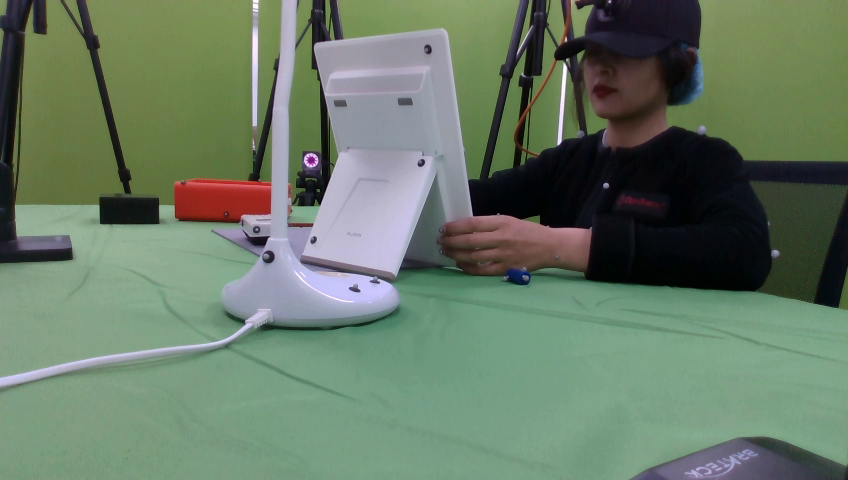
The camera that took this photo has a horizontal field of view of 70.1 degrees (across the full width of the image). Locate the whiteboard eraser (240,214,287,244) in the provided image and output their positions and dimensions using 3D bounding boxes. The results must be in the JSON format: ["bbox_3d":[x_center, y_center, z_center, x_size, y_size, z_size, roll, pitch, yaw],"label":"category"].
[{"bbox_3d":[-0.256,-0.017,0.958,0.056,0.042,0.112,0,8,-25],"label":"whiteboard eraser"}]

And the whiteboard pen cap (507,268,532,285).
[{"bbox_3d":[0.113,0.043,0.726,0.018,0.018,0.033,-2,9,-28],"label":"whiteboard pen cap"}]

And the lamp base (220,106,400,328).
[{"bbox_3d":[-0.101,-0.023,0.531,0.160,0.180,0.179,4,10,10],"label":"lamp base"}]

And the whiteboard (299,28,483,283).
[{"bbox_3d":[-0.075,-0.082,0.740,0.216,0.305,0.144,9,30,38],"label":"whiteboard"}]

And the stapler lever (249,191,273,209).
[{"bbox_3d":[-0.351,-0.086,1.305,0.027,0.040,0.118,0,5,-3],"label":"stapler lever"}]

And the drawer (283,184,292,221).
[{"bbox_3d":[-0.397,-0.086,1.314,0.212,0.073,0.194,1,8,-9],"label":"drawer"}]

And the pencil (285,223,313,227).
[{"bbox_3d":[-0.234,-0.030,1.198,0.195,0.012,0.012,0,8,-20],"label":"pencil"}]

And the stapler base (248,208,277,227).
[{"bbox_3d":[-0.350,-0.054,1.310,0.041,0.024,0.130,0,13,-3],"label":"stapler base"}]

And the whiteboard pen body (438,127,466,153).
[{"bbox_3d":[0.036,-0.134,0.808,0.017,0.017,0.141,4,-1,14],"label":"whiteboard pen body"}]

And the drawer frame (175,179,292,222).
[{"bbox_3d":[-0.402,-0.087,1.311,0.214,0.082,0.201,1,8,-9],"label":"drawer frame"}]
